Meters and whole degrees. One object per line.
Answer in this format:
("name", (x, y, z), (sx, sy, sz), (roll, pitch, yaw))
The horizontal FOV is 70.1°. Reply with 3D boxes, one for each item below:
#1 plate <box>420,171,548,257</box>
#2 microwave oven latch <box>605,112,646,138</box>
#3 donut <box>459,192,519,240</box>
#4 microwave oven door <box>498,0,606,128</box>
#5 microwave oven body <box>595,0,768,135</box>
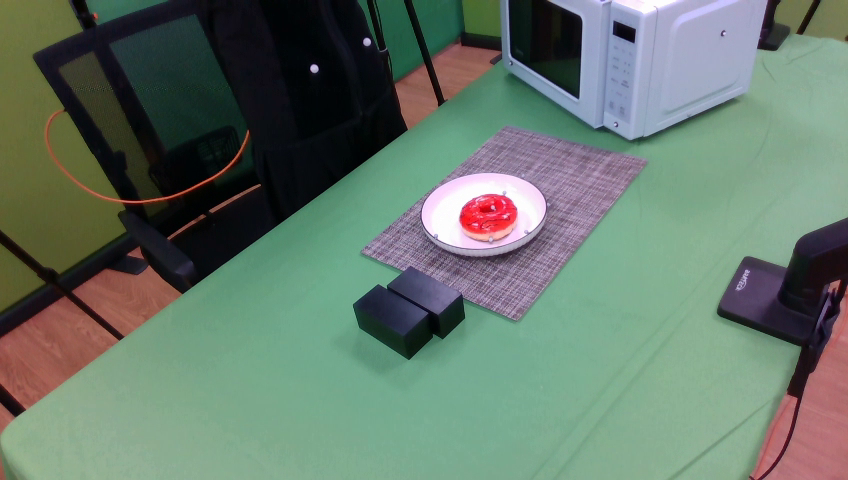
("plate", (0.098, -0.040, 0.994), (0.209, 0.038, 0.208), (-5, 40, 5))
("microwave oven latch", (0.375, -0.217, 1.130), (0.030, 0.029, 0.078), (-25, 42, -16))
("donut", (0.105, -0.040, 0.976), (0.099, 0.048, 0.098), (-7, 41, 7))
("microwave oven door", (0.253, -0.406, 1.217), (0.039, 0.245, 0.352), (-22, 42, -14))
("microwave oven body", (0.411, -0.441, 1.235), (0.327, 0.261, 0.437), (-25, 42, -16))
